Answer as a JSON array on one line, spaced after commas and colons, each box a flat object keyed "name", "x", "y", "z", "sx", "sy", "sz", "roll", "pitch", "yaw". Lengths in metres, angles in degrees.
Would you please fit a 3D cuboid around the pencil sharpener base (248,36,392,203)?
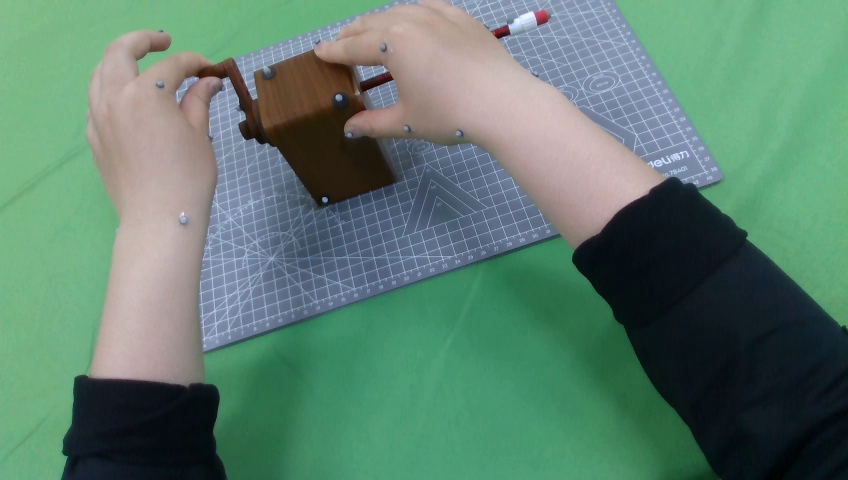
[{"name": "pencil sharpener base", "x": -0.077, "y": -0.085, "z": 0.460, "sx": 0.077, "sy": 0.108, "sz": 0.061, "roll": -21, "pitch": 60, "yaw": 3}]

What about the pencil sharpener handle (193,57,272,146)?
[{"name": "pencil sharpener handle", "x": -0.136, "y": -0.094, "z": 0.433, "sx": 0.030, "sy": 0.068, "sz": 0.036, "roll": -21, "pitch": 17, "yaw": 3}]

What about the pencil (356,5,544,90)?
[{"name": "pencil", "x": -0.007, "y": -0.126, "z": 0.430, "sx": 0.194, "sy": 0.012, "sz": 0.012, "roll": -21, "pitch": 60, "yaw": 4}]
